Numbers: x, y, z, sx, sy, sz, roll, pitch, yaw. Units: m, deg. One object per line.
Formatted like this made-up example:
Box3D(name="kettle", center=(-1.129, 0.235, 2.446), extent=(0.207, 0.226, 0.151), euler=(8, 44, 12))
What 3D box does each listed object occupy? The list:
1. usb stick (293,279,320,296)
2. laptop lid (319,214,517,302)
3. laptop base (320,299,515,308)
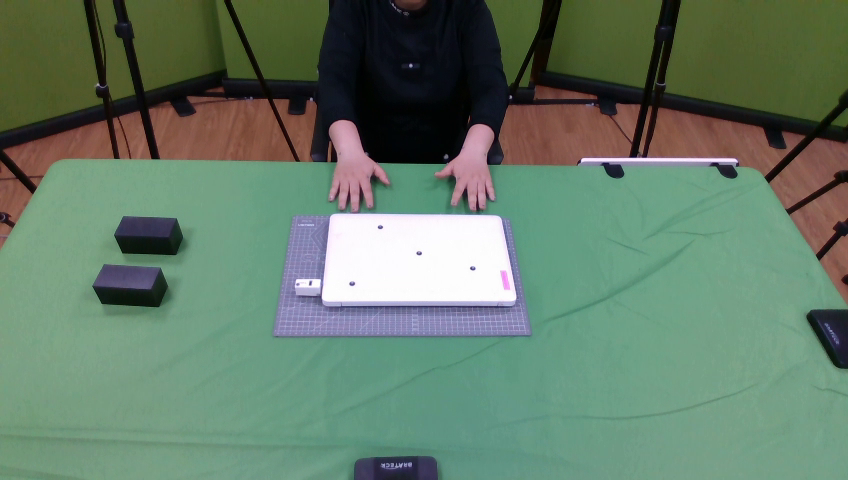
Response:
Box3D(name="usb stick", center=(-0.202, 0.086, 1.083), extent=(0.059, 0.027, 0.021), euler=(3, 46, -5))
Box3D(name="laptop lid", center=(-0.012, 0.029, 1.154), extent=(0.357, 0.013, 0.240), euler=(2, 43, -3))
Box3D(name="laptop base", center=(-0.013, 0.039, 1.160), extent=(0.355, 0.023, 0.234), euler=(0, 43, -4))
